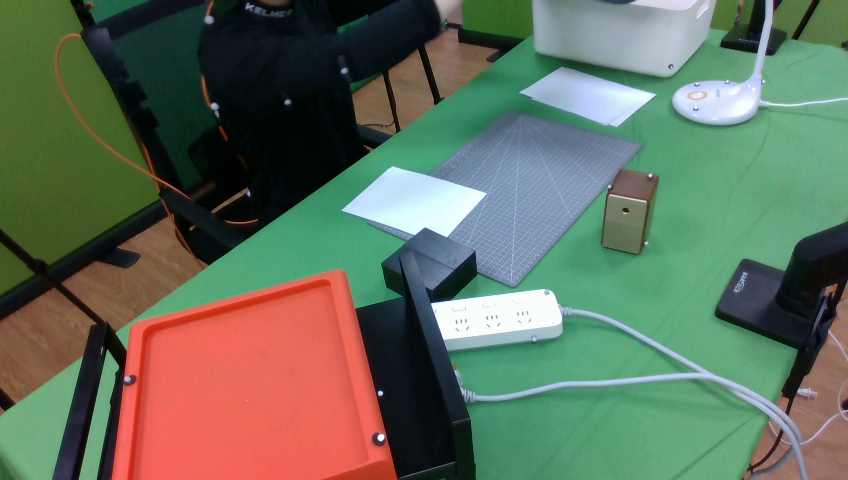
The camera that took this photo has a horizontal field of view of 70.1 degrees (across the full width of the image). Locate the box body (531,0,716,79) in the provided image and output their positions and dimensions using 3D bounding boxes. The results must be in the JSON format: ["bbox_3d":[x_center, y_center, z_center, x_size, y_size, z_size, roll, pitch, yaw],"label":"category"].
[{"bbox_3d":[0.459,-0.522,1.407,0.361,0.161,0.255,22,49,30],"label":"box body"}]

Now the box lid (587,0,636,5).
[{"bbox_3d":[0.298,-0.541,1.156,0.368,0.015,0.264,30,62,37],"label":"box lid"}]

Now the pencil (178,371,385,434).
[{"bbox_3d":[-0.128,0.141,0.534,0.194,0.012,0.012,14,44,7],"label":"pencil"}]

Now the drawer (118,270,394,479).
[{"bbox_3d":[-0.141,0.139,0.509,0.195,0.073,0.210,-14,42,-8],"label":"drawer"}]

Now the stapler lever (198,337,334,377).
[{"bbox_3d":[-0.142,0.105,0.541,0.118,0.040,0.026,-3,43,4],"label":"stapler lever"}]

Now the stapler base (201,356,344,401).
[{"bbox_3d":[-0.142,0.123,0.557,0.130,0.024,0.041,-2,43,3],"label":"stapler base"}]

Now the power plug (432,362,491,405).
[{"bbox_3d":[0.044,0.182,0.759,0.073,0.035,0.052,24,41,-19],"label":"power plug"}]

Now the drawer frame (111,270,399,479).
[{"bbox_3d":[-0.140,0.140,0.506,0.202,0.083,0.212,-15,41,-9],"label":"drawer frame"}]

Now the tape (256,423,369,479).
[{"bbox_3d":[-0.121,0.262,0.660,0.117,0.053,0.116,-4,40,4],"label":"tape"}]

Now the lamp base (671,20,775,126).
[{"bbox_3d":[0.582,-0.332,1.153,0.179,0.181,0.160,2,42,7],"label":"lamp base"}]

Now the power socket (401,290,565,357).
[{"bbox_3d":[0.080,0.113,0.821,0.227,0.033,0.072,-6,41,0],"label":"power socket"}]

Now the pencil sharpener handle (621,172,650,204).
[{"bbox_3d":[0.328,-0.086,0.940,0.036,0.068,0.030,30,49,8],"label":"pencil sharpener handle"}]

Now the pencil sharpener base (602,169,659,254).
[{"bbox_3d":[0.312,-0.044,0.913,0.061,0.107,0.077,14,45,24],"label":"pencil sharpener base"}]
